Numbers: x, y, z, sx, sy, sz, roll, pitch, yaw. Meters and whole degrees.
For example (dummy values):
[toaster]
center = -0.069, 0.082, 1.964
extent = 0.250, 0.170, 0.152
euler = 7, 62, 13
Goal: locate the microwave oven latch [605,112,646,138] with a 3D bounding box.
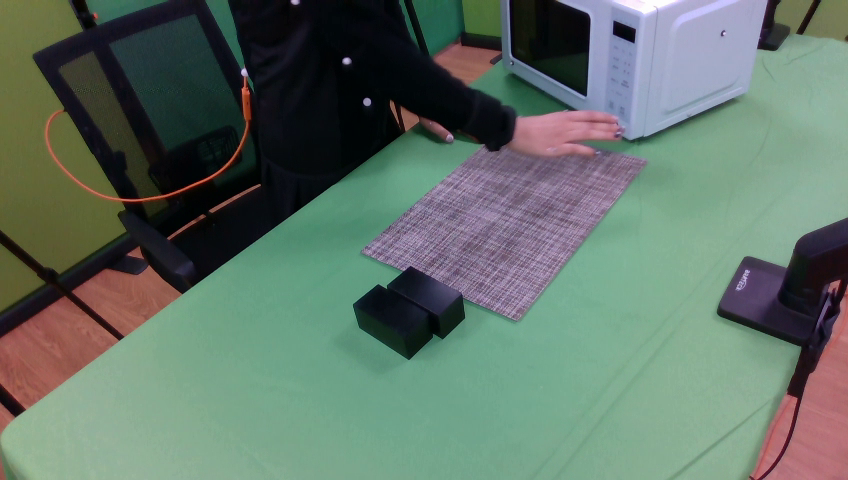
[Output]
[microwave oven latch]
center = 0.375, -0.217, 1.130
extent = 0.030, 0.029, 0.078
euler = -24, 42, -16

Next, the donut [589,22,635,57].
[donut]
center = 0.401, -0.429, 1.294
extent = 0.099, 0.048, 0.098
euler = 4, 50, -4

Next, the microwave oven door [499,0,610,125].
[microwave oven door]
center = 0.261, -0.410, 1.219
extent = 0.039, 0.245, 0.352
euler = -24, 42, -17

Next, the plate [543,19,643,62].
[plate]
center = 0.359, -0.425, 1.294
extent = 0.209, 0.038, 0.208
euler = -1, 36, 1

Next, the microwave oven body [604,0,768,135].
[microwave oven body]
center = 0.411, -0.441, 1.235
extent = 0.327, 0.261, 0.437
euler = -25, 42, -16
